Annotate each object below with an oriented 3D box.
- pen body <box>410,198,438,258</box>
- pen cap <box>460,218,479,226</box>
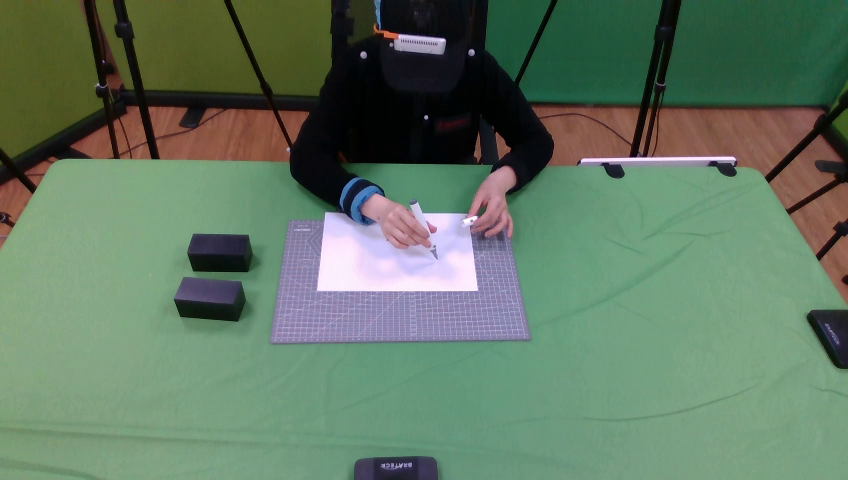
[{"bbox_3d":[0.003,-0.019,1.125,0.017,0.145,0.017,-15,37,12],"label":"pen body"},{"bbox_3d":[0.089,-0.035,1.184,0.038,0.017,0.017,0,44,-29],"label":"pen cap"}]
